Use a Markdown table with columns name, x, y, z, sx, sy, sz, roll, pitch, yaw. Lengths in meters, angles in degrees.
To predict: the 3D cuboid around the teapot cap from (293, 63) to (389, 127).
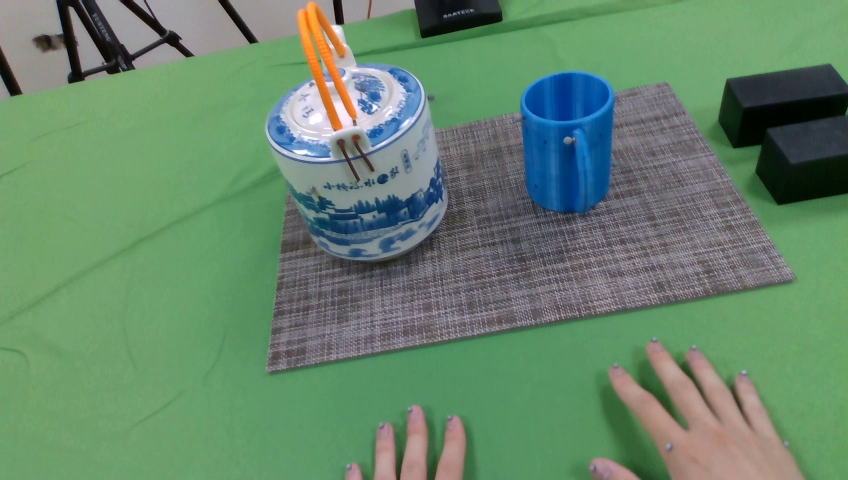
| name | x | y | z | sx | sy | sz | roll | pitch | yaw |
| --- | --- | --- | --- | --- | --- | --- | --- | --- | --- |
| teapot cap | -0.072 | -0.127 | 0.516 | 0.085 | 0.044 | 0.084 | -4 | 45 | 5 |

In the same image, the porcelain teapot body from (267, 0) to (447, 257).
| name | x | y | z | sx | sy | sz | roll | pitch | yaw |
| --- | --- | --- | --- | --- | --- | --- | --- | --- | --- |
| porcelain teapot body | -0.069 | -0.119 | 0.564 | 0.145 | 0.228 | 0.203 | -16 | 46 | -1 |

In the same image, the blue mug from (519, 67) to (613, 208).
| name | x | y | z | sx | sy | sz | roll | pitch | yaw |
| --- | --- | --- | --- | --- | --- | --- | --- | --- | --- |
| blue mug | 0.137 | -0.085 | 0.565 | 0.082 | 0.107 | 0.115 | -11 | 46 | 4 |
